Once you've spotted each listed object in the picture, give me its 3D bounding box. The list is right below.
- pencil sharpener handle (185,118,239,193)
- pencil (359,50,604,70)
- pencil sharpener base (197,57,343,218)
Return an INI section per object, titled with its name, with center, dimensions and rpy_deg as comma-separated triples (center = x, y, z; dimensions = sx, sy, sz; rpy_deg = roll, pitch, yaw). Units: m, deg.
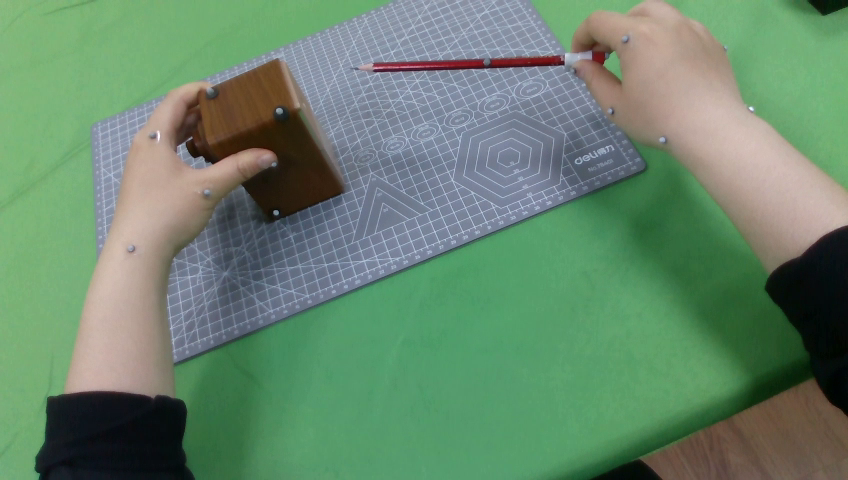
[pencil sharpener handle]
center = -0.170, -0.061, 0.469
dimensions = 0.030, 0.068, 0.035
rpy_deg = -24, 58, 0
[pencil]
center = 0.038, -0.136, 0.464
dimensions = 0.193, 0.012, 0.012
rpy_deg = 4, 62, 19
[pencil sharpener base]
center = -0.120, -0.076, 0.480
dimensions = 0.077, 0.108, 0.060
rpy_deg = -24, 58, 0
